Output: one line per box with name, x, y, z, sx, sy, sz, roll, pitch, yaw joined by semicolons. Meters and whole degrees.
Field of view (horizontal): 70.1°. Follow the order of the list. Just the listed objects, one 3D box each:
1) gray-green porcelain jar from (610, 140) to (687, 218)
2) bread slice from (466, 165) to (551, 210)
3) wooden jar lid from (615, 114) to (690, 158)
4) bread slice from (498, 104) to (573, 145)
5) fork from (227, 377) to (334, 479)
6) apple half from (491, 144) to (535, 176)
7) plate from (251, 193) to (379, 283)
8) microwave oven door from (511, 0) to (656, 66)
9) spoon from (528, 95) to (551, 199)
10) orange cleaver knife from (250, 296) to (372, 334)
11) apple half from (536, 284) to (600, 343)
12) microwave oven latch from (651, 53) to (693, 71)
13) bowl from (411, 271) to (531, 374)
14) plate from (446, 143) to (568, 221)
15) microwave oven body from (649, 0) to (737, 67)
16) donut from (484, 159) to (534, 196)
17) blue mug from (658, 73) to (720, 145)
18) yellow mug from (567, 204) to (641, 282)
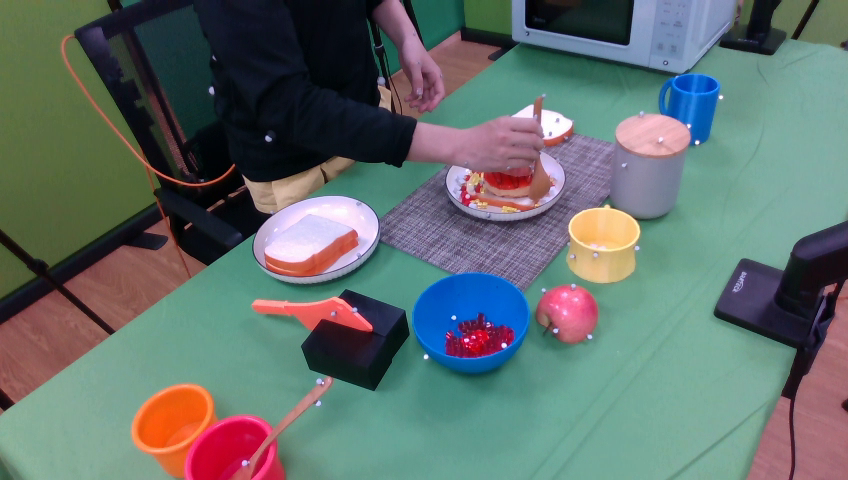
gray-green porcelain jar;0.354;-0.106;0.964;0.106;0.127;0.105;-4;41;4
bread slice;0.141;-0.093;1.041;0.133;0.018;0.107;8;42;20
wooden jar lid;0.347;-0.155;0.923;0.108;0.021;0.108;-3;44;4
bread slice;0.231;-0.231;1.205;0.105;0.019;0.130;-36;47;-29
fork;-0.163;0.216;0.647;0.207;0.019;0.028;-49;41;16
apple half;0.149;-0.139;0.995;0.081;0.033;0.081;1;39;0
plate;-0.174;-0.001;0.984;0.209;0.038;0.208;-4;41;4
microwave oven door;0.350;-0.539;1.348;0.353;0.245;0.039;24;50;31
spoon;0.173;-0.135;0.919;0.042;0.195;0.021;-21;42;-9
orange cleaver knife;-0.159;0.103;0.828;0.210;0.078;0.012;-4;43;39
apple half;0.196;0.090;0.815;0.075;0.053;0.080;-22;42;-20
microwave oven latch;0.532;-0.386;1.301;0.078;0.029;0.030;27;52;34
bowl;0.062;0.119;0.780;0.151;0.077;0.150;-4;40;4
plate;0.142;-0.097;1.045;0.207;0.039;0.206;-4;40;4
microwave oven body;0.475;-0.602;1.411;0.438;0.261;0.327;23;50;32
donut;0.150;-0.112;1.018;0.099;0.048;0.098;-4;40;4
blue mug;0.483;-0.250;1.127;0.082;0.106;0.115;-26;44;-19
yellow mug;0.268;-0.005;0.905;0.099;0.064;0.130;6;42;16
